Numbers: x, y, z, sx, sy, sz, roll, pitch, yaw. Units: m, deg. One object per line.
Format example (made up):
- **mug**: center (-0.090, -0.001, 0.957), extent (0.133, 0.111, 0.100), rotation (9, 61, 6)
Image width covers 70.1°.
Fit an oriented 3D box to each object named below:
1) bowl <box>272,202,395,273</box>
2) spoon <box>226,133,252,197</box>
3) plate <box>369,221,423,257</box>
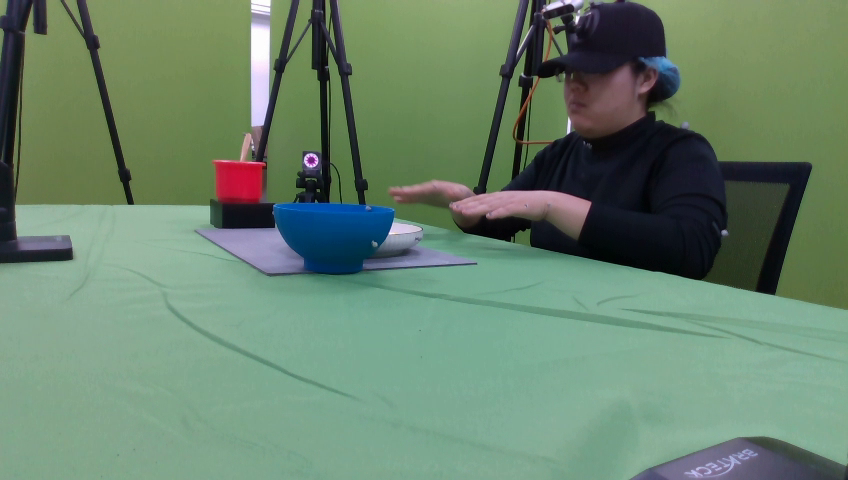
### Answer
- **bowl**: center (-0.112, -0.003, 0.751), extent (0.151, 0.077, 0.151), rotation (3, 7, 0)
- **spoon**: center (-0.356, -0.150, 1.189), extent (0.042, 0.021, 0.193), rotation (0, 51, -3)
- **plate**: center (-0.105, -0.004, 0.922), extent (0.208, 0.039, 0.207), rotation (3, 7, 0)
